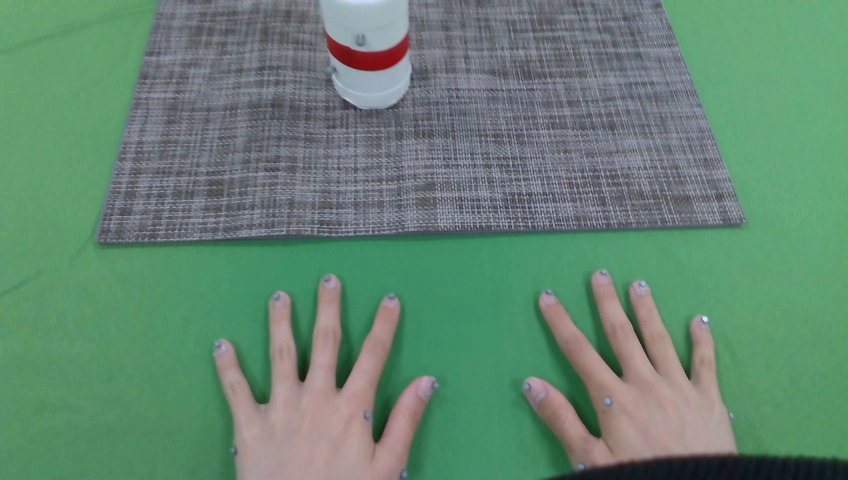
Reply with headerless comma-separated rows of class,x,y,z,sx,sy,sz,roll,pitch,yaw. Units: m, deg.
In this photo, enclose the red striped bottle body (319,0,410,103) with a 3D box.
red striped bottle body,-0.042,-0.162,0.438,0.063,0.120,0.062,0,59,0
